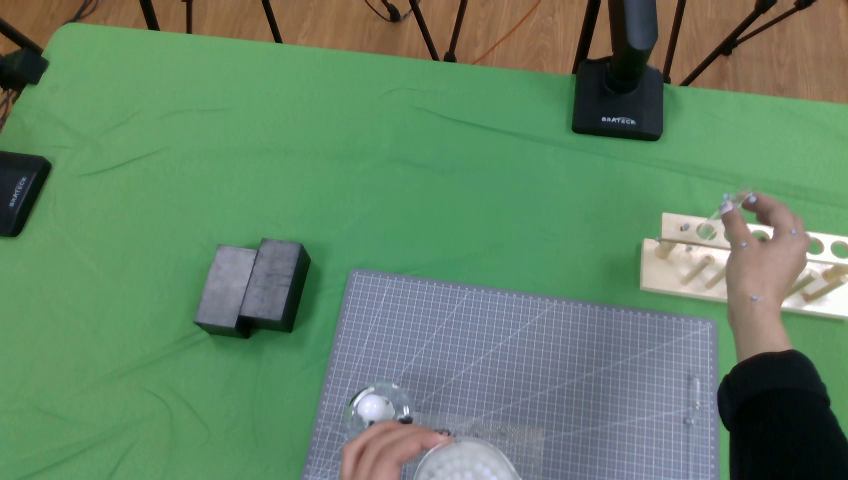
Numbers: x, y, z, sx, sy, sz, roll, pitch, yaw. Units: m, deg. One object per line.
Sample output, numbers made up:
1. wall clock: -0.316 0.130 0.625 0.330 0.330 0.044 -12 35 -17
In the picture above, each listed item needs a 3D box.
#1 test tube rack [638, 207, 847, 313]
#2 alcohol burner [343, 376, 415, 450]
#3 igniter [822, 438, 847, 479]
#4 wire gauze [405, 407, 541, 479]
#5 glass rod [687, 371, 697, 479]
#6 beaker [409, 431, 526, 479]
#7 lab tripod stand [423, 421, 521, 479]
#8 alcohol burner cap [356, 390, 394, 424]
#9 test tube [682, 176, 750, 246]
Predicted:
1. test tube rack: 0.386 0.024 0.710 0.242 0.086 0.066 8 67 6
2. alcohol burner: -0.049 0.180 0.642 0.078 0.120 0.077 -1 64 2
3. igniter: 0.410 0.339 0.606 0.057 0.025 0.275 19 69 -1
4. wire gauze: 0.041 0.215 0.539 0.125 0.011 0.120 5 66 4
5. glass rod: 0.291 0.241 0.660 0.008 0.008 0.198 9 70 6
6. beaker: 0.032 0.191 0.460 0.084 0.101 0.073 -2 64 1
7. lab tripod stand: 0.045 0.245 0.600 0.148 0.132 0.147 -1 65 3
8. alcohol burner cap: -0.051 0.167 0.609 0.034 0.048 0.033 -3 69 8
9. test tube: 0.312 -0.027 0.655 0.017 0.151 0.017 -1 67 2
